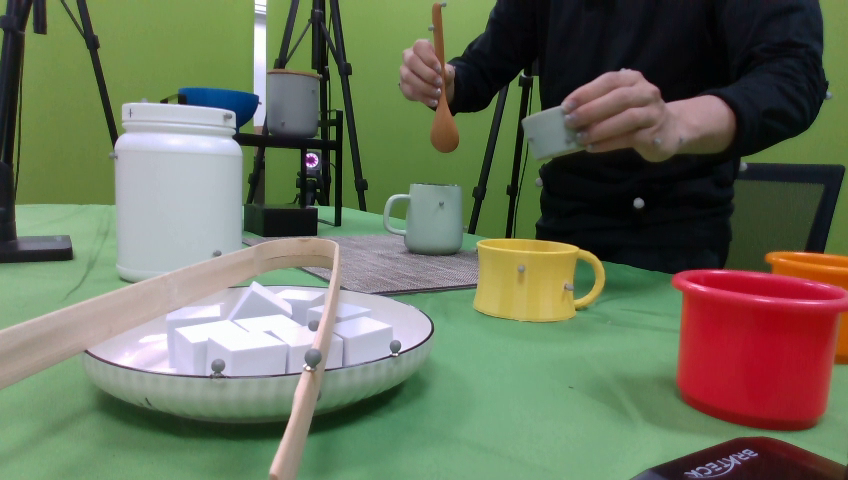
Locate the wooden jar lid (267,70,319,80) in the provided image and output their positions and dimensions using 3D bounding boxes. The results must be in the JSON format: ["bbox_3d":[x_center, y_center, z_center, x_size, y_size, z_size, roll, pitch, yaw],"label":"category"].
[{"bbox_3d":[-0.275,-0.339,1.271,0.108,0.020,0.108,5,6,0],"label":"wooden jar lid"}]

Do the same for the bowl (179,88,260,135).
[{"bbox_3d":[-0.400,-0.248,1.188,0.151,0.077,0.151,2,6,0],"label":"bowl"}]

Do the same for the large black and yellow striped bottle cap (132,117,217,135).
[{"bbox_3d":[-0.359,-0.164,0.875,0.115,0.019,0.115,2,6,0],"label":"large black and yellow striped bottle cap"}]

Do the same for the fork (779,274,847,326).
[{"bbox_3d":[0.332,0.018,0.443,0.028,0.018,0.207,-3,-35,-16],"label":"fork"}]

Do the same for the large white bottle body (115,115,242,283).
[{"bbox_3d":[-0.270,-0.051,0.673,0.131,0.184,0.130,2,8,0],"label":"large white bottle body"}]

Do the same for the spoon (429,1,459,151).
[{"bbox_3d":[0.021,-0.209,0.793,0.041,0.194,0.021,1,22,17],"label":"spoon"}]

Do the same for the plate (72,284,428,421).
[{"bbox_3d":[-0.102,0.067,0.381,0.208,0.039,0.207,3,7,0],"label":"plate"}]

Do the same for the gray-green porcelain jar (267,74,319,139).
[{"bbox_3d":[-0.277,-0.279,1.280,0.106,0.126,0.106,2,8,0],"label":"gray-green porcelain jar"}]

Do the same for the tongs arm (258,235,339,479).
[{"bbox_3d":[-0.074,0.040,0.345,0.051,0.026,0.384,-1,10,-3],"label":"tongs arm"}]

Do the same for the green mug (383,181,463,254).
[{"bbox_3d":[-0.001,-0.036,0.922,0.126,0.105,0.092,0,8,-16],"label":"green mug"}]

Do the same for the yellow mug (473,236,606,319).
[{"bbox_3d":[0.114,0.034,0.590,0.131,0.064,0.100,2,7,-7],"label":"yellow mug"}]

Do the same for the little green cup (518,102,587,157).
[{"bbox_3d":[0.120,-0.101,0.555,0.061,0.038,0.061,-11,1,1],"label":"little green cup"}]

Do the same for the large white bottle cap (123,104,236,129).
[{"bbox_3d":[-0.266,-0.135,0.663,0.115,0.018,0.115,3,7,0],"label":"large white bottle cap"}]

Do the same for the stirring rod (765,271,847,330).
[{"bbox_3d":[0.352,0.020,0.481,0.176,0.006,0.014,-40,-8,17],"label":"stirring rod"}]

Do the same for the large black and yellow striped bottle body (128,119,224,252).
[{"bbox_3d":[-0.361,-0.081,0.887,0.131,0.184,0.130,2,8,0],"label":"large black and yellow striped bottle body"}]

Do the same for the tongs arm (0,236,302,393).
[{"bbox_3d":[-0.157,0.038,0.347,0.028,0.028,0.388,-3,8,11],"label":"tongs arm"}]
